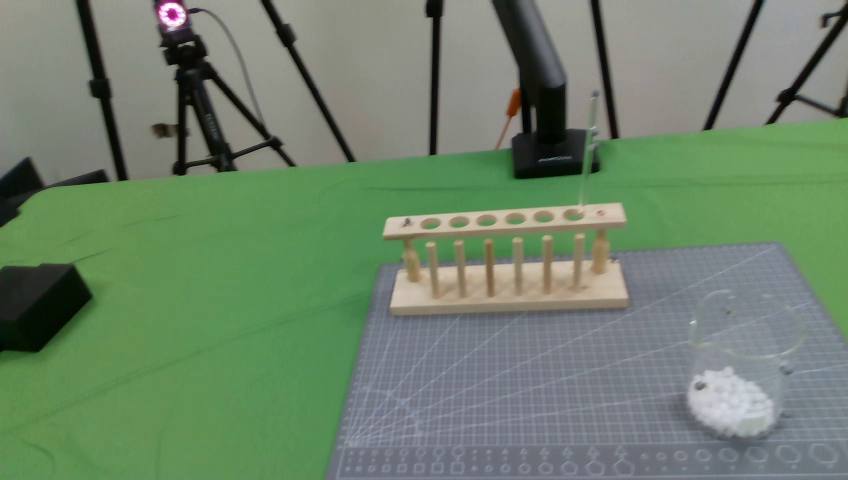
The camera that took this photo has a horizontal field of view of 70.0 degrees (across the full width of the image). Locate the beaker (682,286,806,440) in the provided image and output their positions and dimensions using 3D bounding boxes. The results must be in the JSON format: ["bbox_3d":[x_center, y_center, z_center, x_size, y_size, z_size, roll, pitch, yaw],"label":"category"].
[{"bbox_3d":[0.239,0.098,0.467,0.084,0.101,0.073,-14,35,-6],"label":"beaker"}]

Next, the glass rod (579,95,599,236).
[{"bbox_3d":[0.158,-0.045,0.588,0.008,0.201,0.008,-3,36,3],"label":"glass rod"}]

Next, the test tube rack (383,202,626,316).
[{"bbox_3d":[0.082,0.021,0.628,0.242,0.086,0.066,-3,35,9],"label":"test tube rack"}]
